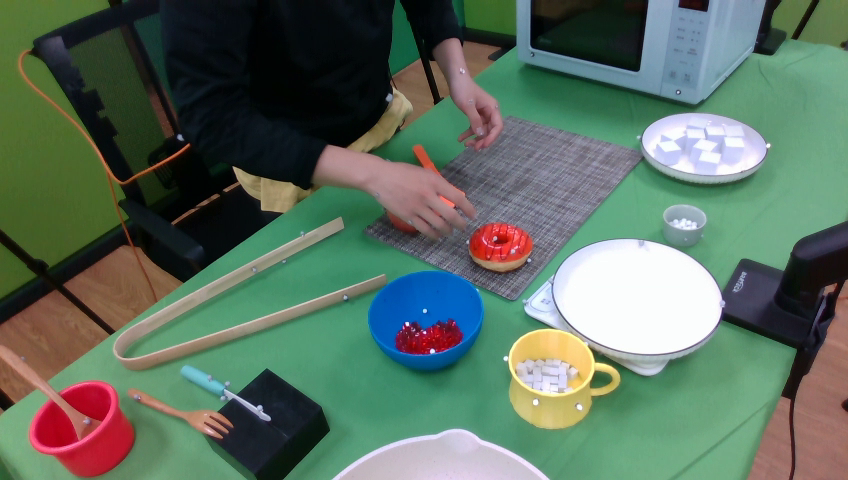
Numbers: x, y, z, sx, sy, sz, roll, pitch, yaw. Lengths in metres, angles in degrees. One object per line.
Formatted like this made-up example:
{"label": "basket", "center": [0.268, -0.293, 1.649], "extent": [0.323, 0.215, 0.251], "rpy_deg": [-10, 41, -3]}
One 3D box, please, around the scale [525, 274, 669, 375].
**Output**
{"label": "scale", "center": [0.254, 0.091, 0.821], "extent": [0.199, 0.032, 0.149], "rpy_deg": [28, 51, 35]}

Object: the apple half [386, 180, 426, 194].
{"label": "apple half", "center": [-0.028, -0.072, 1.016], "extent": [0.081, 0.081, 0.032], "rpy_deg": [-10, 44, -2]}

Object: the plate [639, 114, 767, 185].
{"label": "plate", "center": [0.489, -0.157, 1.074], "extent": [0.207, 0.039, 0.206], "rpy_deg": [-4, 40, 4]}

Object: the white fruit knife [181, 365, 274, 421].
{"label": "white fruit knife", "center": [-0.245, 0.187, 0.747], "extent": [0.205, 0.027, 0.016], "rpy_deg": [9, 41, 40]}

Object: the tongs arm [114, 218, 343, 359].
{"label": "tongs arm", "center": [-0.280, 0.068, 0.927], "extent": [0.386, 0.026, 0.050], "rpy_deg": [-29, 50, -23]}

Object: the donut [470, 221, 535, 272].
{"label": "donut", "center": [0.119, 0.009, 0.923], "extent": [0.099, 0.048, 0.098], "rpy_deg": [-3, 39, 3]}

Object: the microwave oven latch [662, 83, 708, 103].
{"label": "microwave oven latch", "center": [0.518, -0.296, 1.204], "extent": [0.078, 0.029, 0.030], "rpy_deg": [28, 52, 35]}

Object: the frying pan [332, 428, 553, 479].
{"label": "frying pan", "center": [-0.089, 0.306, 0.564], "extent": [0.487, 0.103, 0.306], "rpy_deg": [10, 41, 7]}

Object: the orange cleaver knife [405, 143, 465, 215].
{"label": "orange cleaver knife", "center": [0.005, -0.113, 1.103], "extent": [0.077, 0.012, 0.209], "rpy_deg": [-24, 45, -9]}

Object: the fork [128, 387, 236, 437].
{"label": "fork", "center": [-0.305, 0.207, 0.744], "extent": [0.206, 0.019, 0.028], "rpy_deg": [3, 41, 36]}

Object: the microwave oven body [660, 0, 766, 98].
{"label": "microwave oven body", "center": [0.472, -0.513, 1.317], "extent": [0.438, 0.261, 0.327], "rpy_deg": [26, 51, 34]}

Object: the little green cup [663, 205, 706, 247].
{"label": "little green cup", "center": [0.396, -0.021, 0.926], "extent": [0.061, 0.039, 0.061], "rpy_deg": [-4, 40, 4]}

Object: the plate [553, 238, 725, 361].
{"label": "plate", "center": [0.273, 0.078, 0.783], "extent": [0.209, 0.038, 0.208], "rpy_deg": [-4, 41, 4]}

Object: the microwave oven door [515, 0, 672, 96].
{"label": "microwave oven door", "center": [0.343, -0.455, 1.259], "extent": [0.353, 0.245, 0.039], "rpy_deg": [26, 51, 33]}

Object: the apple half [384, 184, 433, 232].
{"label": "apple half", "center": [-0.023, -0.046, 0.987], "extent": [0.081, 0.075, 0.053], "rpy_deg": [-8, 44, -6]}

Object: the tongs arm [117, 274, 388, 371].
{"label": "tongs arm", "center": [-0.236, 0.116, 0.871], "extent": [0.389, 0.028, 0.028], "rpy_deg": [-18, 50, -13]}

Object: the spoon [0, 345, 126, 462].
{"label": "spoon", "center": [-0.434, 0.192, 0.720], "extent": [0.194, 0.021, 0.042], "rpy_deg": [47, 53, -6]}

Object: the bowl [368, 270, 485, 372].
{"label": "bowl", "center": [0.007, 0.118, 0.791], "extent": [0.151, 0.077, 0.150], "rpy_deg": [-4, 40, 4]}

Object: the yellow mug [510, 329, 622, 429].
{"label": "yellow mug", "center": [0.168, 0.164, 0.721], "extent": [0.130, 0.064, 0.099], "rpy_deg": [0, 40, 8]}
